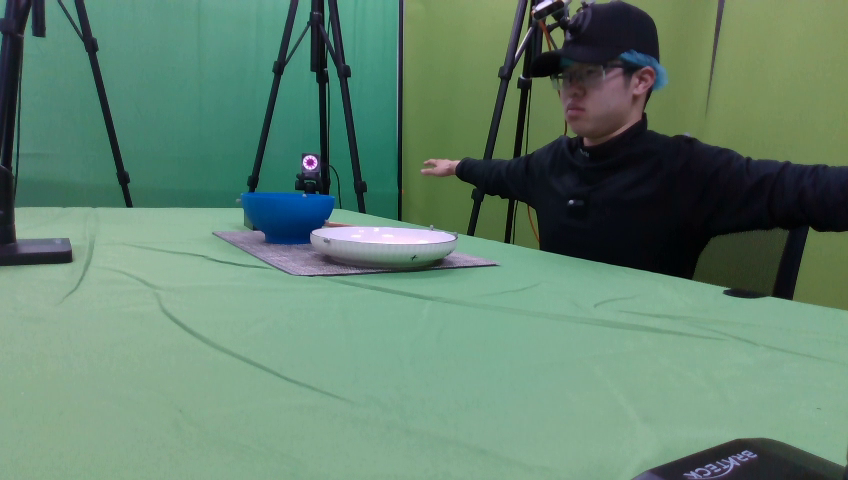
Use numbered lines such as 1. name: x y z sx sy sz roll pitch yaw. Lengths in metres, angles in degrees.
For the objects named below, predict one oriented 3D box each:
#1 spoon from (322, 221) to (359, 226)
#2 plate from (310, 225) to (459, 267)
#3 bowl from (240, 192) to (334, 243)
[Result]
1. spoon: -0.197 -0.028 1.149 0.195 0.021 0.041 -2 -9 -30
2. plate: -0.055 0.008 0.851 0.208 0.039 0.207 2 7 0
3. bowl: -0.223 -0.037 0.992 0.151 0.077 0.151 2 7 0
